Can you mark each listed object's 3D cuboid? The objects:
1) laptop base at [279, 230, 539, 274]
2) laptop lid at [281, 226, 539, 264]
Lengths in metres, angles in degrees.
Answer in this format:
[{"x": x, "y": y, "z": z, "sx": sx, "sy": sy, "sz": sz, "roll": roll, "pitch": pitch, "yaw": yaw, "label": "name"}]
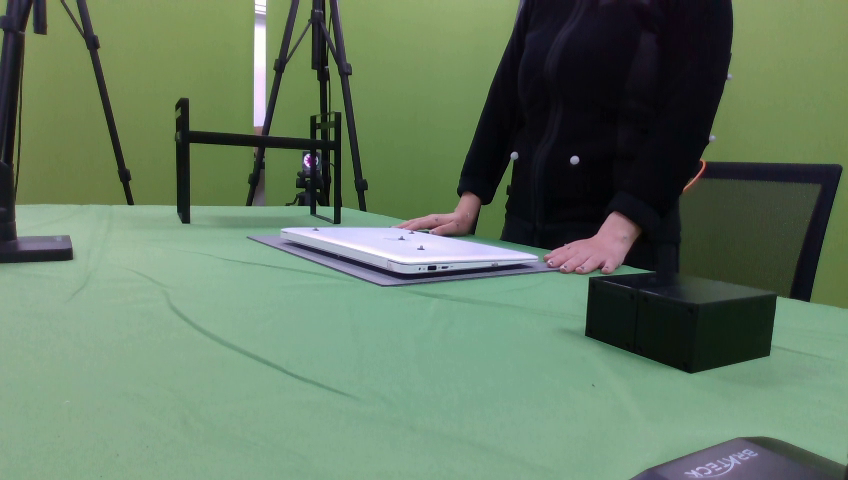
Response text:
[{"x": -0.037, "y": 0.014, "z": 0.895, "sx": 0.237, "sy": 0.023, "sz": 0.352, "roll": 1, "pitch": 7, "yaw": -38, "label": "laptop base"}, {"x": -0.034, "y": 0.002, "z": 0.895, "sx": 0.243, "sy": 0.013, "sz": 0.355, "roll": 0, "pitch": 8, "yaw": -36, "label": "laptop lid"}]
